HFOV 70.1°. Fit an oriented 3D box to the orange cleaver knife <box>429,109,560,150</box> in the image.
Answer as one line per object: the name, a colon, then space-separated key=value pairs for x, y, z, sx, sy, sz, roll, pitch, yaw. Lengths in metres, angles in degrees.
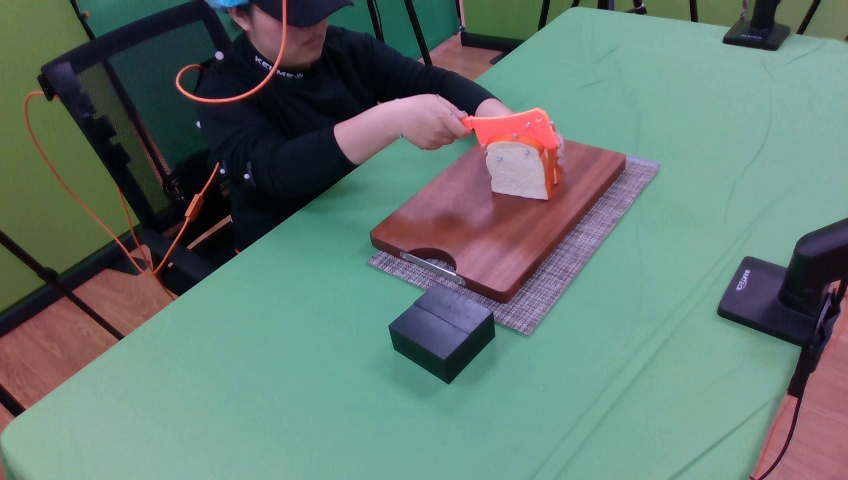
orange cleaver knife: x=0.108 y=-0.171 z=0.954 sx=0.210 sy=0.077 sz=0.012 roll=6 pitch=47 yaw=29

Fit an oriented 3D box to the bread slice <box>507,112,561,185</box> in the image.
bread slice: x=0.175 y=-0.151 z=1.005 sx=0.106 sy=0.135 sz=0.018 roll=13 pitch=49 yaw=21

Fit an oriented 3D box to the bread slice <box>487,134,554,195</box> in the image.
bread slice: x=0.150 y=-0.120 z=0.973 sx=0.104 sy=0.132 sz=0.019 roll=8 pitch=58 yaw=23
